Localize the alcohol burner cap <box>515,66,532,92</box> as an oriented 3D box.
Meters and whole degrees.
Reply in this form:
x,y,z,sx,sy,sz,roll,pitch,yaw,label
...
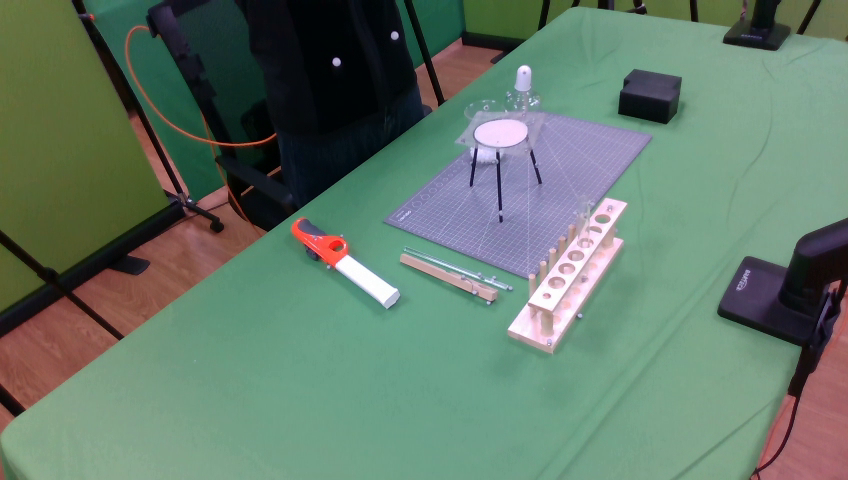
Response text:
x,y,z,sx,sy,sz,roll,pitch,yaw,label
0.198,-0.320,1.192,0.034,0.048,0.033,0,48,1,alcohol burner cap

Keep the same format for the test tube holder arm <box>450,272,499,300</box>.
x,y,z,sx,sy,sz,roll,pitch,yaw,label
0.071,0.068,0.895,0.087,0.015,0.010,21,16,32,test tube holder arm

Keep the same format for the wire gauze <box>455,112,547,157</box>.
x,y,z,sx,sy,sz,roll,pitch,yaw,label
0.125,-0.176,0.973,0.124,0.011,0.121,10,42,22,wire gauze

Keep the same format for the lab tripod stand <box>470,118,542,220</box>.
x,y,z,sx,sy,sz,roll,pitch,yaw,label
0.135,-0.129,1.019,0.148,0.132,0.147,-5,38,5,lab tripod stand

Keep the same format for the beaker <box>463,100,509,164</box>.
x,y,z,sx,sy,sz,roll,pitch,yaw,label
0.120,-0.200,1.134,0.083,0.101,0.074,5,43,16,beaker

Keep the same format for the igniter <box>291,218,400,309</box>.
x,y,z,sx,sy,sz,roll,pitch,yaw,label
-0.136,0.031,0.970,0.057,0.025,0.274,-41,49,-19,igniter

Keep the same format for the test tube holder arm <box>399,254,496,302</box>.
x,y,z,sx,sy,sz,roll,pitch,yaw,label
0.032,0.054,0.914,0.177,0.015,0.013,21,16,32,test tube holder arm

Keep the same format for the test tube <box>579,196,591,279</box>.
x,y,z,sx,sy,sz,roll,pitch,yaw,label
0.217,0.000,0.816,0.017,0.151,0.017,-7,44,8,test tube

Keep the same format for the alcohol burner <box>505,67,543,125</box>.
x,y,z,sx,sy,sz,roll,pitch,yaw,label
0.201,-0.293,1.216,0.078,0.119,0.077,-4,41,4,alcohol burner

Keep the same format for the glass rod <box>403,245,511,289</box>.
x,y,z,sx,sy,sz,roll,pitch,yaw,label
0.047,0.040,0.939,0.198,0.008,0.008,21,49,30,glass rod

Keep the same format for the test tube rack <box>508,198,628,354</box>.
x,y,z,sx,sy,sz,roll,pitch,yaw,label
0.206,0.039,0.850,0.066,0.085,0.243,20,48,31,test tube rack
